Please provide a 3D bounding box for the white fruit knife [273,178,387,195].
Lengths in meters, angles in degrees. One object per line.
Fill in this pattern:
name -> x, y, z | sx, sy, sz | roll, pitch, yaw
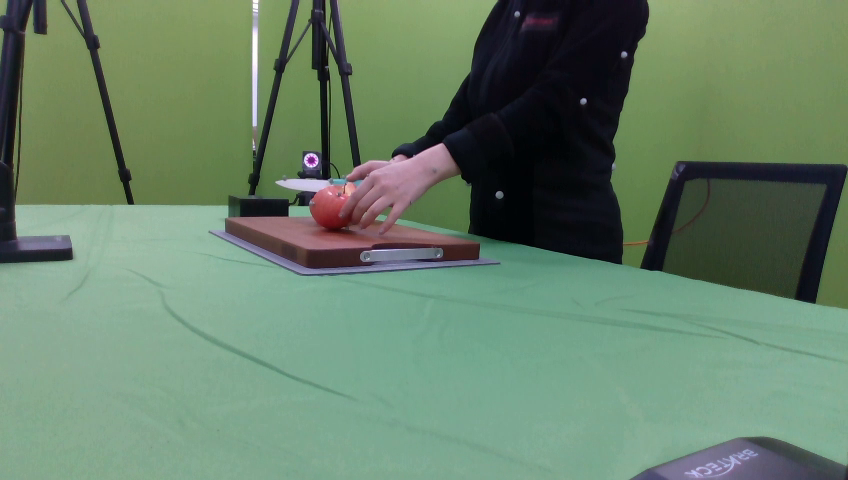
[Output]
white fruit knife -> -0.165, -0.099, 1.087 | 0.208, 0.027, 0.016 | 1, -6, -24

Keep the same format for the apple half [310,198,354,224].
apple half -> -0.161, -0.044, 1.036 | 0.081, 0.033, 0.081 | 16, 15, -4

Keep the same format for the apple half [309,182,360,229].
apple half -> -0.135, -0.048, 0.944 | 0.081, 0.053, 0.074 | -14, -26, -52
